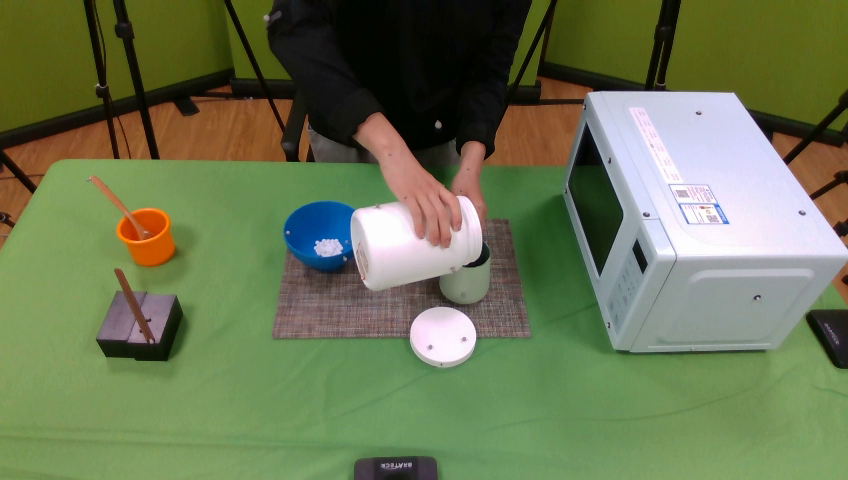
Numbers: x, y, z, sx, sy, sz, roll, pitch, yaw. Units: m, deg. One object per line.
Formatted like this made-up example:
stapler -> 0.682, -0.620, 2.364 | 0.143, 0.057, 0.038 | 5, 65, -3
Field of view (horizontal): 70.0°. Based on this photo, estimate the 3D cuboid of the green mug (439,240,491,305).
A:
green mug -> 0.072, 0.044, 1.101 | 0.092, 0.105, 0.124 | -6, 47, -9

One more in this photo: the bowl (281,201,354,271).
bowl -> -0.187, 0.005, 1.137 | 0.151, 0.077, 0.150 | 3, 46, -3

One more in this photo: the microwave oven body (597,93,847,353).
microwave oven body -> 0.475, -0.041, 1.109 | 0.326, 0.261, 0.438 | -1, 45, -4

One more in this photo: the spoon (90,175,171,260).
spoon -> -0.539, -0.042, 1.112 | 0.021, 0.194, 0.041 | -12, 28, 53

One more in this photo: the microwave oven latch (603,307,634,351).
microwave oven latch -> 0.332, 0.153, 1.044 | 0.030, 0.029, 0.078 | 0, 45, -4

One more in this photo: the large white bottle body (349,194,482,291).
large white bottle body -> -0.014, -0.001, 0.956 | 0.185, 0.131, 0.129 | -12, 48, -16

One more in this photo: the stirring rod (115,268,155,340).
stirring rod -> -0.479, 0.103, 0.999 | 0.014, 0.006, 0.175 | 8, 32, -50

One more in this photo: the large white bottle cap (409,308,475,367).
large white bottle cap -> 0.031, 0.166, 1.041 | 0.115, 0.018, 0.114 | 2, 46, -2

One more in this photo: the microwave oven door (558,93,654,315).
microwave oven door -> 0.327, -0.074, 1.123 | 0.039, 0.245, 0.353 | -1, 46, -5
